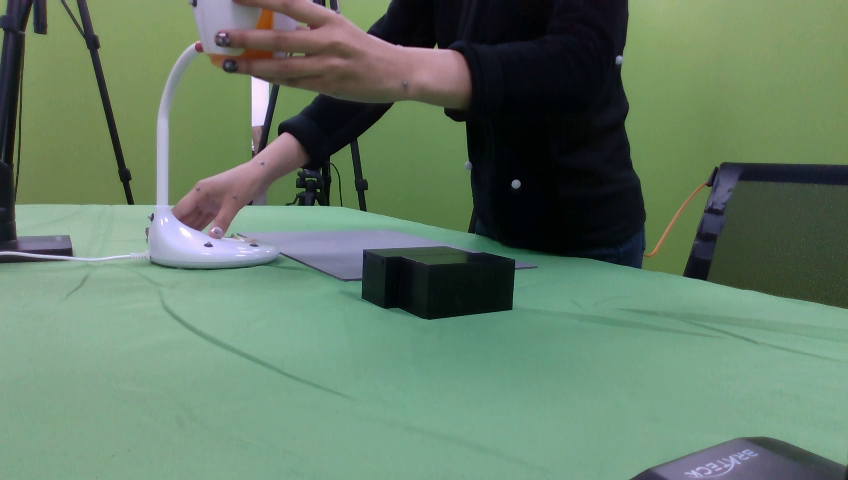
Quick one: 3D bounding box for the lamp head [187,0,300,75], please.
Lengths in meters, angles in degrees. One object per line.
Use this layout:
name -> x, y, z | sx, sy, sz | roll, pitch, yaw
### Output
lamp head -> -0.173, -0.219, 0.572 | 0.112, 0.123, 0.112 | 8, 8, -1

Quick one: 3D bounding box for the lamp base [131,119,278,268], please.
lamp base -> -0.279, -0.061, 0.770 | 0.180, 0.180, 0.160 | -9, 12, -44

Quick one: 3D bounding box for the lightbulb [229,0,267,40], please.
lightbulb -> -0.164, -0.243, 0.569 | 0.059, 0.107, 0.059 | 7, -1, 0
